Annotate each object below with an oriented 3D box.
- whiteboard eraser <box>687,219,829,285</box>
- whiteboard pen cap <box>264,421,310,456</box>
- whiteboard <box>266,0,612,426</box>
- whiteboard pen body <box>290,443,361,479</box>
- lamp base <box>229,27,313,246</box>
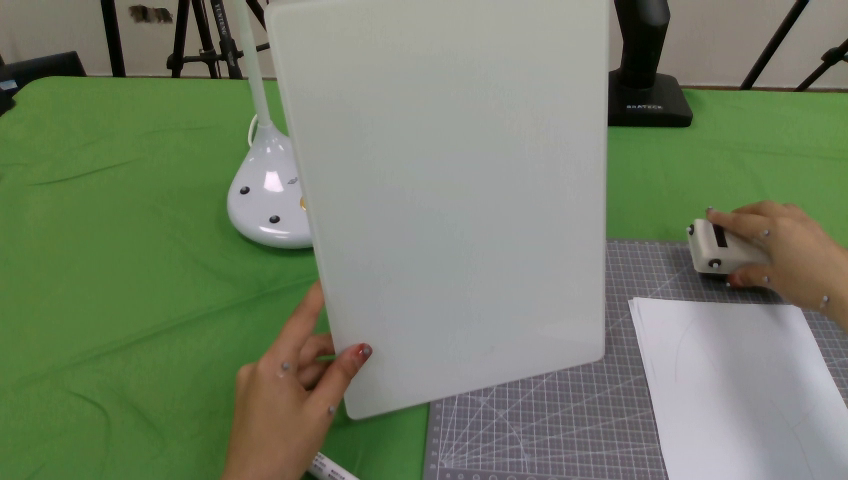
[{"bbox_3d":[0.310,0.012,0.569,0.112,0.042,0.055,4,52,6],"label":"whiteboard eraser"},{"bbox_3d":[-0.102,0.149,0.451,0.033,0.018,0.018,23,48,28],"label":"whiteboard pen cap"},{"bbox_3d":[0.017,-0.041,0.484,0.217,0.307,0.142,-11,24,-9],"label":"whiteboard"},{"bbox_3d":[-0.054,0.171,0.424,0.140,0.017,0.017,22,48,25],"label":"whiteboard pen body"},{"bbox_3d":[-0.141,-0.112,0.615,0.160,0.182,0.177,-33,49,-30],"label":"lamp base"}]
